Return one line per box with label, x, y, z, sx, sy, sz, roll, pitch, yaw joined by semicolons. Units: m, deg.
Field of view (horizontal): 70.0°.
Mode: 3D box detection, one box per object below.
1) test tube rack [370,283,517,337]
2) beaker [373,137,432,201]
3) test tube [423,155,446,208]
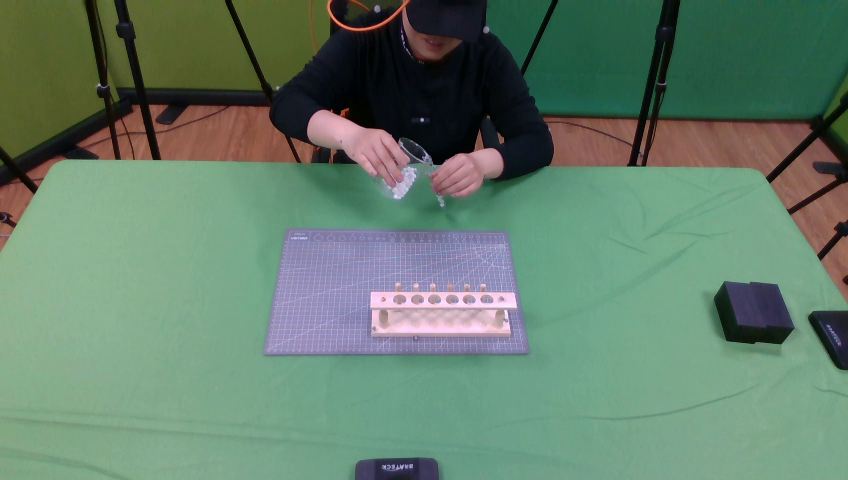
test tube rack;0.030;0.116;1.041;0.242;0.085;0.066;1;46;-4
beaker;-0.042;-0.129;1.131;0.084;0.100;0.073;6;40;-51
test tube;0.022;-0.113;1.202;0.017;0.151;0.017;-7;54;10
